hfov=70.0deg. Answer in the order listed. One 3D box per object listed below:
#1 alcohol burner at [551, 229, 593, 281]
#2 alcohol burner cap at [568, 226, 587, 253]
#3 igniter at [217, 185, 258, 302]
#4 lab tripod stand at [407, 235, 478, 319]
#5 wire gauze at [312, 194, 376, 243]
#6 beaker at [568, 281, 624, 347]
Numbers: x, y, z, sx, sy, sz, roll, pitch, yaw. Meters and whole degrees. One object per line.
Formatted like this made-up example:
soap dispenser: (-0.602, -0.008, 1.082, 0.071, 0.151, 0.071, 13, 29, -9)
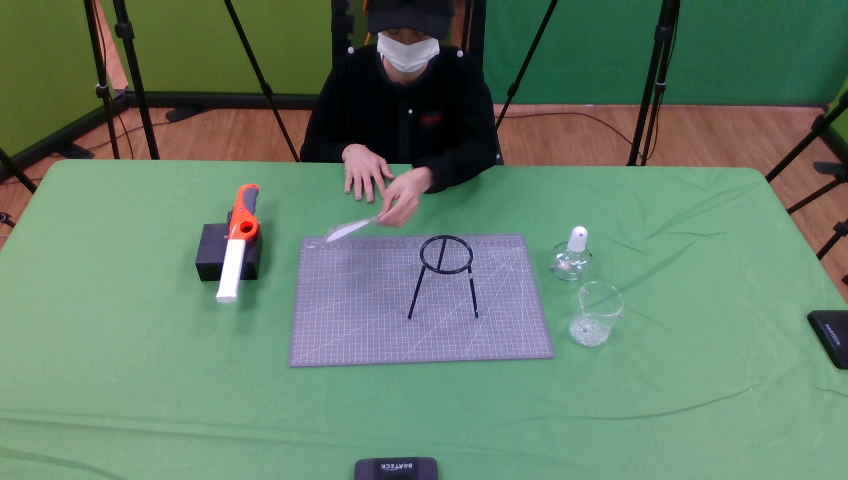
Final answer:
alcohol burner: (0.281, 0.021, 1.137, 0.078, 0.120, 0.077, 1, 48, -1)
alcohol burner cap: (0.284, -0.003, 1.112, 0.034, 0.048, 0.033, 1, 42, -1)
igniter: (-0.339, -0.003, 1.106, 0.057, 0.025, 0.274, 1, 49, -6)
lab tripod stand: (0.032, 0.065, 1.057, 0.148, 0.132, 0.147, 1, 45, -1)
wire gauze: (-0.141, -0.037, 1.074, 0.125, 0.011, 0.121, -30, 17, 0)
beaker: (0.290, 0.132, 1.041, 0.084, 0.101, 0.073, -34, 57, -31)
